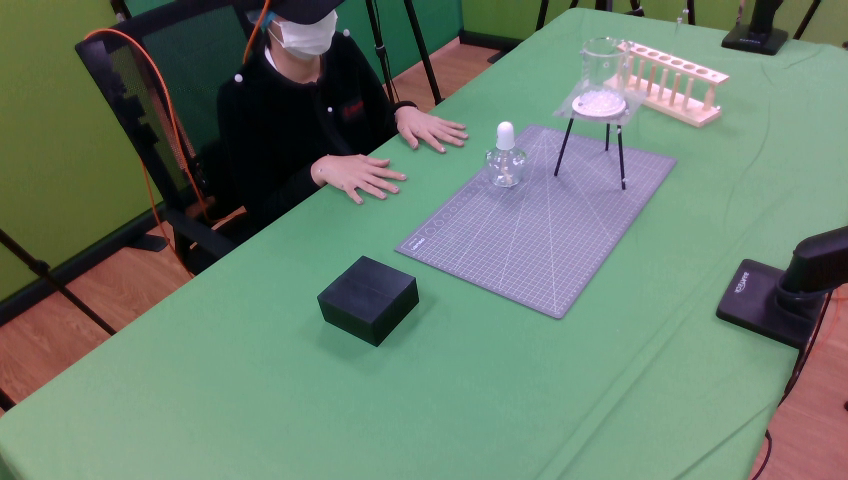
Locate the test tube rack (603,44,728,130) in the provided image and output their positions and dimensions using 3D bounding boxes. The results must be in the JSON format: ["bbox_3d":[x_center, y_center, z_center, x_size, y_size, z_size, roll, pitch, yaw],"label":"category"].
[{"bbox_3d":[0.480,-0.316,1.227,0.067,0.085,0.240,-28,44,-22],"label":"test tube rack"}]

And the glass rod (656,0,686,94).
[{"bbox_3d":[0.491,-0.381,1.199,0.008,0.200,0.008,1,41,0],"label":"glass rod"}]

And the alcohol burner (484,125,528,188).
[{"bbox_3d":[0.144,-0.152,1.059,0.078,0.119,0.077,-3,41,3],"label":"alcohol burner"}]

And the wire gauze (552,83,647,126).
[{"bbox_3d":[0.293,-0.224,1.004,0.120,0.011,0.125,19,43,26],"label":"wire gauze"}]

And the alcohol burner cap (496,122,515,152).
[{"bbox_3d":[0.139,-0.179,1.037,0.034,0.048,0.033,-4,44,4],"label":"alcohol burner cap"}]

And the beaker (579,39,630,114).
[{"bbox_3d":[0.289,-0.263,0.975,0.073,0.101,0.084,17,45,27],"label":"beaker"}]

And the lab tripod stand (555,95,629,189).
[{"bbox_3d":[0.300,-0.174,1.045,0.148,0.132,0.147,-5,38,5],"label":"lab tripod stand"}]
